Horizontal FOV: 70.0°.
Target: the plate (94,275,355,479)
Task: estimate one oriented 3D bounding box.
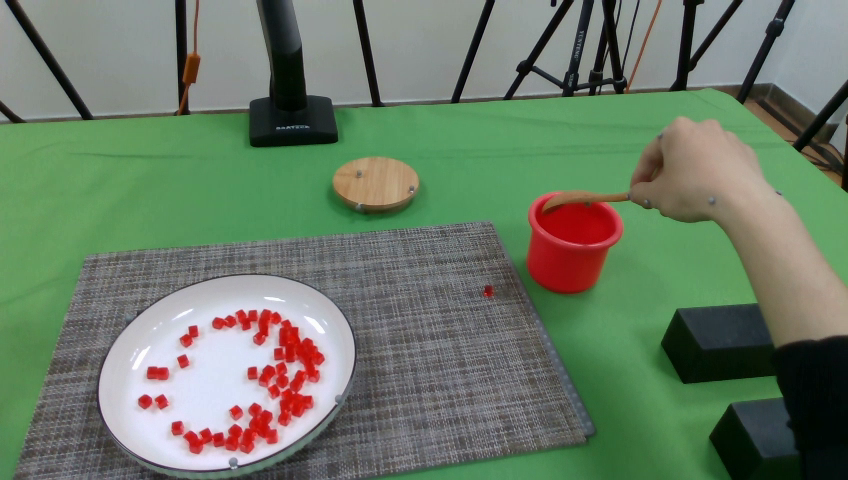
[{"bbox_3d":[-0.164,0.114,0.520,0.208,0.039,0.205,3,40,-2],"label":"plate"}]

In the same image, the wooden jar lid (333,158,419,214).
[{"bbox_3d":[-0.060,-0.067,0.764,0.108,0.021,0.107,3,41,-3],"label":"wooden jar lid"}]

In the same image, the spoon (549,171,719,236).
[{"bbox_3d":[0.187,-0.038,0.574,0.022,0.193,0.041,3,78,-37],"label":"spoon"}]
